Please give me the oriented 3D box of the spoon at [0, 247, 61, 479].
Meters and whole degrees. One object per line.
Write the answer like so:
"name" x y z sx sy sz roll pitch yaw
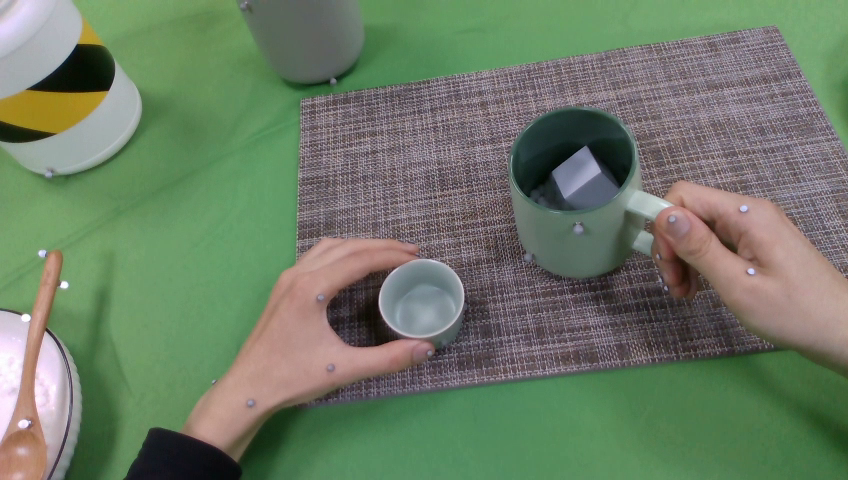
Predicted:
"spoon" -0.285 0.091 0.440 0.041 0.022 0.192 -6 68 4

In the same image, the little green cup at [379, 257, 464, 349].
"little green cup" -0.001 0.048 0.438 0.061 0.039 0.061 -2 57 4

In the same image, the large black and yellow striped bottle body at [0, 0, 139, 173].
"large black and yellow striped bottle body" -0.355 -0.159 0.525 0.130 0.185 0.129 -3 60 6

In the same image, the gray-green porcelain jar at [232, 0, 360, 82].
"gray-green porcelain jar" -0.119 -0.221 0.562 0.106 0.127 0.105 -3 60 6

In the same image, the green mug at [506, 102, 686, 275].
"green mug" 0.116 -0.025 0.413 0.124 0.106 0.092 27 77 25

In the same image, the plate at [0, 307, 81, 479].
"plate" -0.342 0.149 0.433 0.209 0.038 0.207 -3 60 6
